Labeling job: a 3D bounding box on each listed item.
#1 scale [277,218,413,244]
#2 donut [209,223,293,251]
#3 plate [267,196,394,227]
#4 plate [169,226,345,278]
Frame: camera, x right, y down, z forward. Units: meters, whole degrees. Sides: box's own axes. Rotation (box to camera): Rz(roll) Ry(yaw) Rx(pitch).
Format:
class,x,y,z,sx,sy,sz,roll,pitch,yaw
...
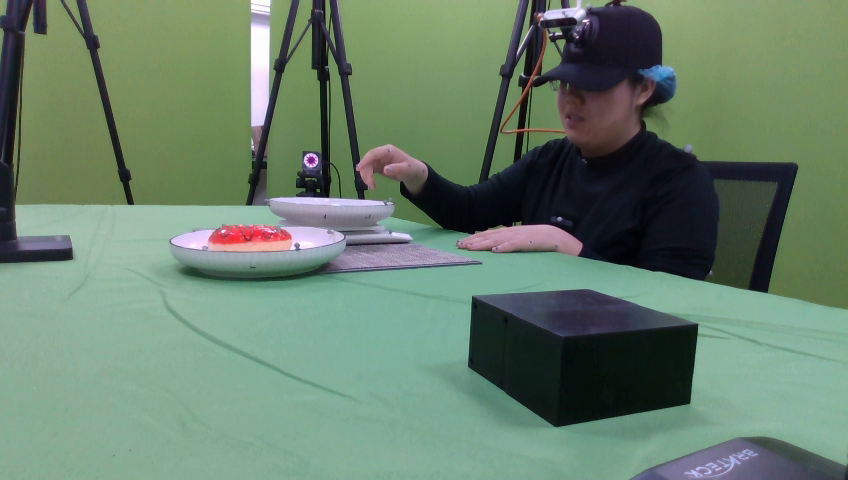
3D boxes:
class,x,y,z,sx,sy,sz,roll,pitch,yaw
scale,-0.134,-0.015,1.015,0.202,0.031,0.148,-1,9,-33
donut,-0.210,0.004,0.738,0.099,0.048,0.099,0,8,0
plate,-0.152,-0.047,0.998,0.208,0.039,0.207,2,7,0
plate,-0.202,0.014,0.748,0.209,0.038,0.209,1,9,0
